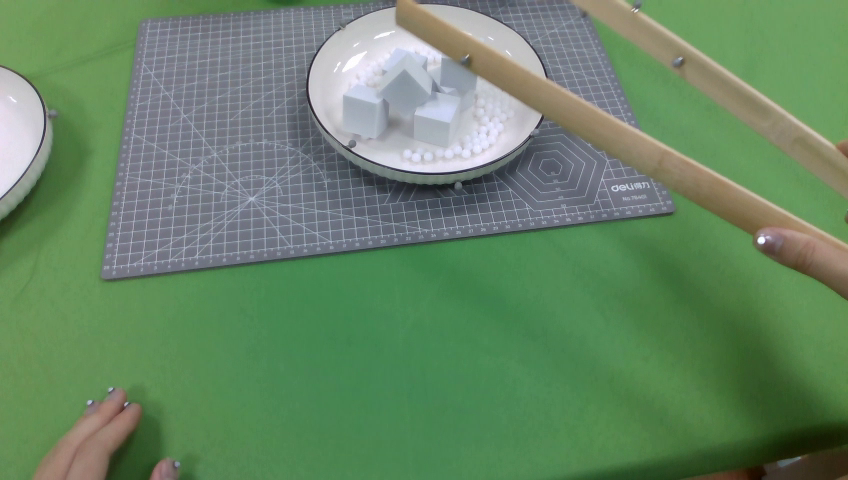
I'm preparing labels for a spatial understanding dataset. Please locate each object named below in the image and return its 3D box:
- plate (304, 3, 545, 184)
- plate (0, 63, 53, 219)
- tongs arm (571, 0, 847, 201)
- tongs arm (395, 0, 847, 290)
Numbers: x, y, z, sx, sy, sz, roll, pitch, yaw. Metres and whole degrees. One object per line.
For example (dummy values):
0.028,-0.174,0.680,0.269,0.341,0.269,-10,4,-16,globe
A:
0.002,-0.129,0.533,0.209,0.038,0.207,1,58,-1,plate
-0.402,-0.062,0.484,0.208,0.039,0.205,1,58,-1,plate
0.187,-0.105,0.417,0.051,0.027,0.381,-31,63,-28,tongs arm
0.131,-0.066,0.382,0.385,0.028,0.028,35,52,18,tongs arm
